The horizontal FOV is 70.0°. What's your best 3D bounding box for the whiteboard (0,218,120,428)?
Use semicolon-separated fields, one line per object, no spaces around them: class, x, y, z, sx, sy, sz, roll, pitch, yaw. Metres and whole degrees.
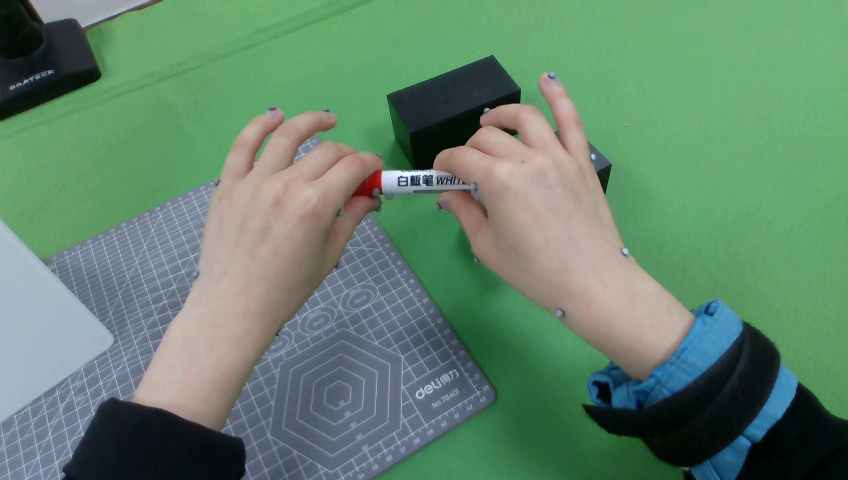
whiteboard;-0.389;0.001;0.369;0.217;0.309;0.142;-37;40;-17

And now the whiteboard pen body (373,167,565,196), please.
whiteboard pen body;0.017;-0.036;0.376;0.140;0.017;0.016;-1;55;3

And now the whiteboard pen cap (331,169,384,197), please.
whiteboard pen cap;-0.041;-0.036;0.381;0.032;0.017;0.017;-2;55;5
